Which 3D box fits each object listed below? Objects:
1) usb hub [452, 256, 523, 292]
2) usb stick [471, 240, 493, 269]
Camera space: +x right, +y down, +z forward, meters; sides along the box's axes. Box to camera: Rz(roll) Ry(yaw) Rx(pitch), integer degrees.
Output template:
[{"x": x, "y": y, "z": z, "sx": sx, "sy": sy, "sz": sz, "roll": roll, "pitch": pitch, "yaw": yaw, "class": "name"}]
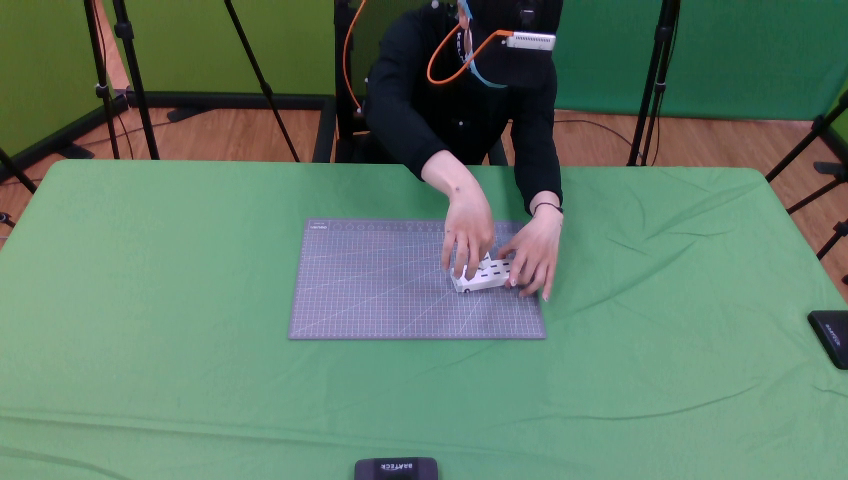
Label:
[{"x": 0.119, "y": 0.064, "z": 1.134, "sx": 0.125, "sy": 0.025, "sz": 0.049, "roll": -9, "pitch": 48, "yaw": -12, "class": "usb hub"}, {"x": 0.107, "y": 0.030, "z": 1.102, "sx": 0.021, "sy": 0.059, "sz": 0.027, "roll": -35, "pitch": 37, "yaw": -22, "class": "usb stick"}]
